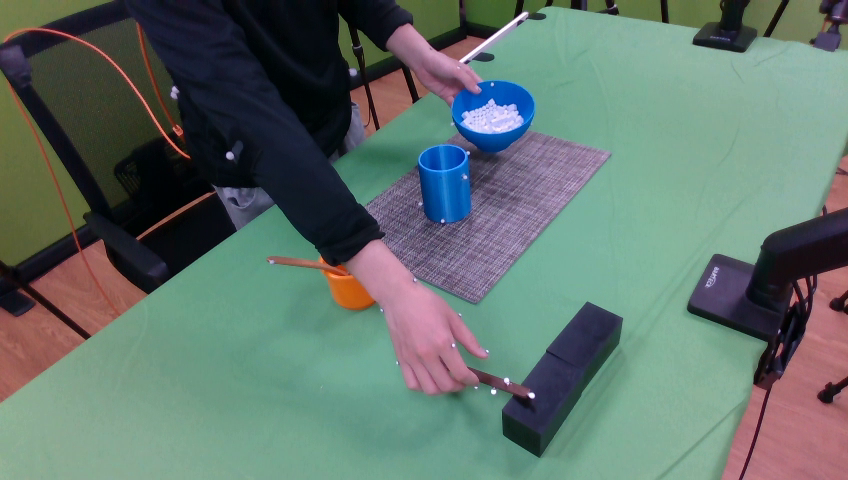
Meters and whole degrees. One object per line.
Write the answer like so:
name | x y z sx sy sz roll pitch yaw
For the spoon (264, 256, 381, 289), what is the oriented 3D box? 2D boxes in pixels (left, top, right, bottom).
spoon | -0.136 0.042 0.842 0.041 0.195 0.021 43 106 43

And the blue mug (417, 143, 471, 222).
blue mug | 0.031 -0.105 1.014 0.082 0.106 0.115 -14 41 -7

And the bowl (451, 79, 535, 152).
bowl | 0.125 -0.214 1.095 0.151 0.077 0.150 -3 51 4

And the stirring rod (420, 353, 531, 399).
stirring rod | 0.058 0.164 0.739 0.174 0.006 0.014 9 45 46
